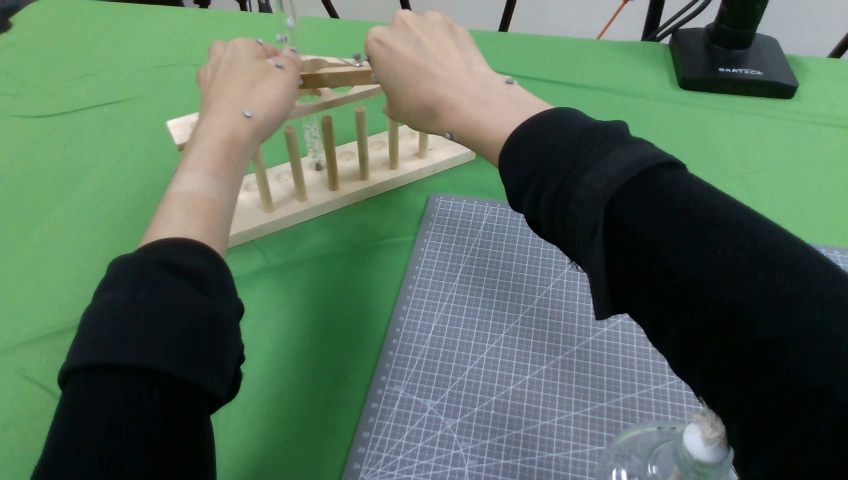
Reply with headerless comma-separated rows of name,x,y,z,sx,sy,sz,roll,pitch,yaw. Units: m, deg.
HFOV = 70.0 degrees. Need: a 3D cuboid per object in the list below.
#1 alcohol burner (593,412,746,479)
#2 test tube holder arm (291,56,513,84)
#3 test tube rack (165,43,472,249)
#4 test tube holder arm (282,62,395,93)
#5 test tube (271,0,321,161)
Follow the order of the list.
alcohol burner,0.126,0.116,0.299,0.078,0.120,0.077,-1,47,1
test tube holder arm,-0.021,-0.127,0.452,0.177,0.015,0.013,8,55,20
test tube rack,-0.077,-0.084,0.512,0.243,0.086,0.066,-22,50,-20
test tube holder arm,-0.065,-0.125,0.462,0.087,0.015,0.010,-6,51,11
test tube,-0.100,-0.125,0.482,0.017,0.151,0.017,-1,45,1
